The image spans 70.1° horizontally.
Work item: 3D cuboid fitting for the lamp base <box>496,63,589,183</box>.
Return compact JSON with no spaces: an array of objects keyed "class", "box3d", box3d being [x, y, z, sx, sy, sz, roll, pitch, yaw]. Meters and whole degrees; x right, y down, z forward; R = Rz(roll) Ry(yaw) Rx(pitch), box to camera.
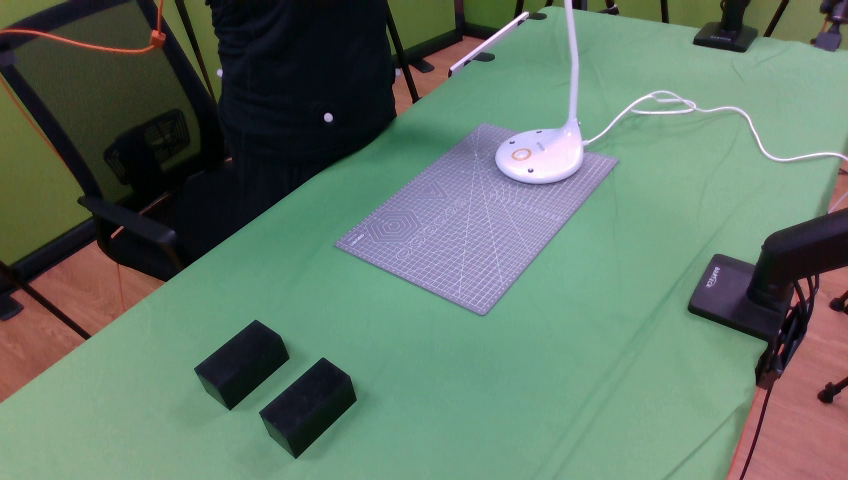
[{"class":"lamp base","box3d":[0.216,-0.217,1.067,0.180,0.181,0.159,-19,42,-18]}]
